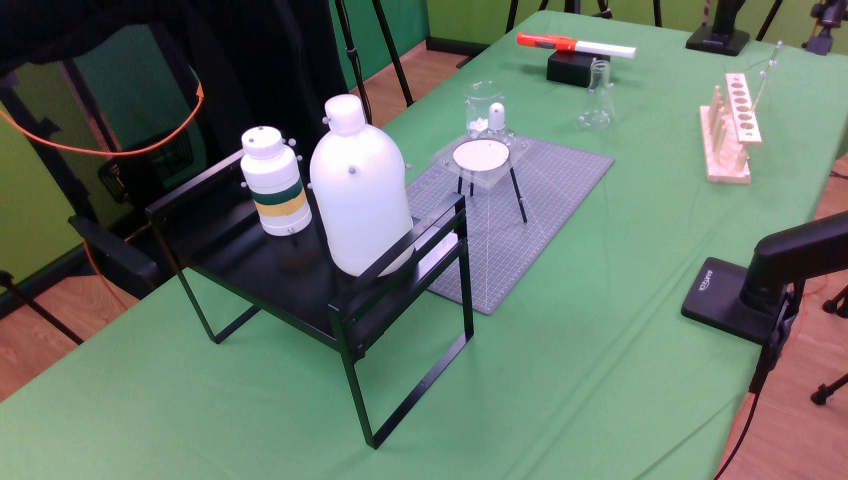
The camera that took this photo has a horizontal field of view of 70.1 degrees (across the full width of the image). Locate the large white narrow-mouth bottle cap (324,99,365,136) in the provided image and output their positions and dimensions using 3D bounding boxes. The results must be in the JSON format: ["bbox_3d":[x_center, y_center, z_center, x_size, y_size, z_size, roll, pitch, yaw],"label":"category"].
[{"bbox_3d":[-0.076,-0.119,0.586,0.038,0.024,0.037,-3,42,3],"label":"large white narrow-mouth bottle cap"}]

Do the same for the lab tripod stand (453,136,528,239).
[{"bbox_3d":[0.094,-0.086,0.974,0.148,0.132,0.147,-4,43,4],"label":"lab tripod stand"}]

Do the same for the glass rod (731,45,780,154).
[{"bbox_3d":[0.556,-0.231,1.018,0.008,0.200,0.008,2,41,-1],"label":"glass rod"}]

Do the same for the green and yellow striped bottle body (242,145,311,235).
[{"bbox_3d":[-0.179,-0.069,0.730,0.063,0.120,0.063,-4,41,4],"label":"green and yellow striped bottle body"}]

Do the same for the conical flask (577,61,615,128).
[{"bbox_3d":[0.343,-0.288,1.188,0.075,0.122,0.075,-4,41,4],"label":"conical flask"}]

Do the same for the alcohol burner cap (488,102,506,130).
[{"bbox_3d":[0.133,-0.227,1.092,0.034,0.048,0.033,-1,47,2],"label":"alcohol burner cap"}]

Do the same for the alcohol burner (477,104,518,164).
[{"bbox_3d":[0.135,-0.200,1.117,0.078,0.119,0.077,-4,43,4],"label":"alcohol burner"}]

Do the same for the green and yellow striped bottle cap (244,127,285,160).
[{"bbox_3d":[-0.183,-0.111,0.694,0.045,0.020,0.045,-1,42,1],"label":"green and yellow striped bottle cap"}]

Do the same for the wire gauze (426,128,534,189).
[{"bbox_3d":[0.086,-0.131,0.924,0.124,0.011,0.122,26,52,33],"label":"wire gauze"}]

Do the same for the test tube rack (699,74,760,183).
[{"bbox_3d":[0.547,-0.208,1.095,0.066,0.085,0.242,6,42,15],"label":"test tube rack"}]

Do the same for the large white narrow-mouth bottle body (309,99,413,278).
[{"bbox_3d":[-0.068,-0.057,0.644,0.102,0.195,0.101,-3,42,4],"label":"large white narrow-mouth bottle body"}]

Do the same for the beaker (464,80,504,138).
[{"bbox_3d":[0.118,-0.254,1.193,0.074,0.101,0.083,-19,42,-14],"label":"beaker"}]

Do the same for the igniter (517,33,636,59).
[{"bbox_3d":[0.336,-0.441,1.369,0.275,0.025,0.057,16,41,23],"label":"igniter"}]
